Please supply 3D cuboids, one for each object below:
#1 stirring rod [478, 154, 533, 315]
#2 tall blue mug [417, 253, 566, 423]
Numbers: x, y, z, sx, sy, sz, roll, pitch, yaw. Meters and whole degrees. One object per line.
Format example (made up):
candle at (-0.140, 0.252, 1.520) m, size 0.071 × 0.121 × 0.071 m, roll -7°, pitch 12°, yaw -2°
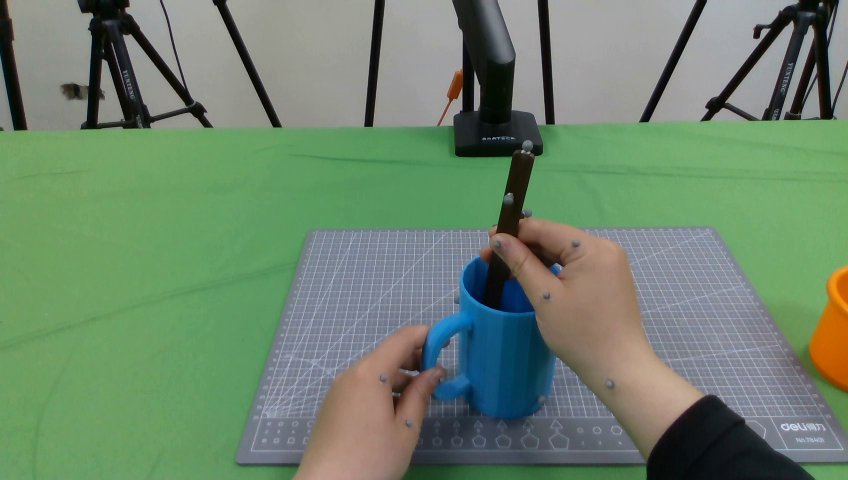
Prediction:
stirring rod at (0.051, 0.016, 0.418) m, size 0.014 × 0.177 × 0.006 m, roll 14°, pitch 42°, yaw 9°
tall blue mug at (0.054, 0.082, 0.452) m, size 0.077 × 0.109 × 0.107 m, roll 20°, pitch 40°, yaw 26°
